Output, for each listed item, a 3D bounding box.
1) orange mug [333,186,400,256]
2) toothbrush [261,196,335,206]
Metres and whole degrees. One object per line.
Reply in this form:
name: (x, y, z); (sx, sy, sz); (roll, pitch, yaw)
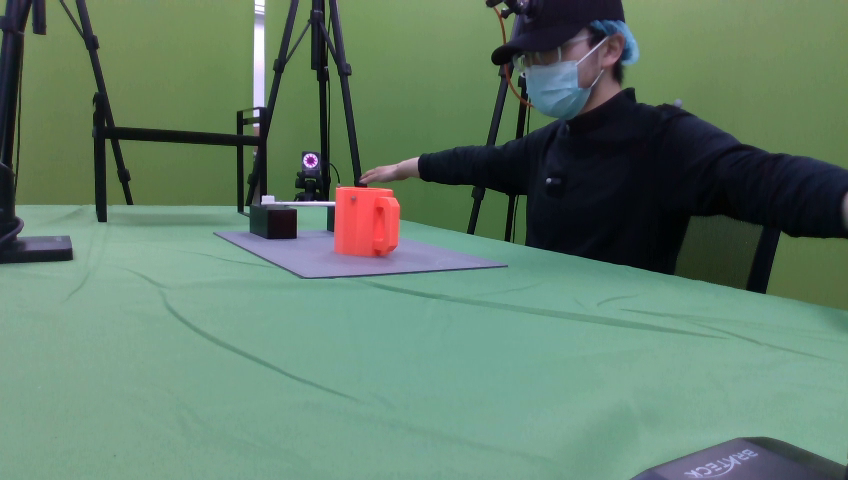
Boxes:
orange mug: (-0.080, -0.029, 0.888); (0.084, 0.100, 0.125); (-3, 5, -40)
toothbrush: (-0.200, -0.068, 1.073); (0.183, 0.016, 0.014); (-1, -7, -34)
